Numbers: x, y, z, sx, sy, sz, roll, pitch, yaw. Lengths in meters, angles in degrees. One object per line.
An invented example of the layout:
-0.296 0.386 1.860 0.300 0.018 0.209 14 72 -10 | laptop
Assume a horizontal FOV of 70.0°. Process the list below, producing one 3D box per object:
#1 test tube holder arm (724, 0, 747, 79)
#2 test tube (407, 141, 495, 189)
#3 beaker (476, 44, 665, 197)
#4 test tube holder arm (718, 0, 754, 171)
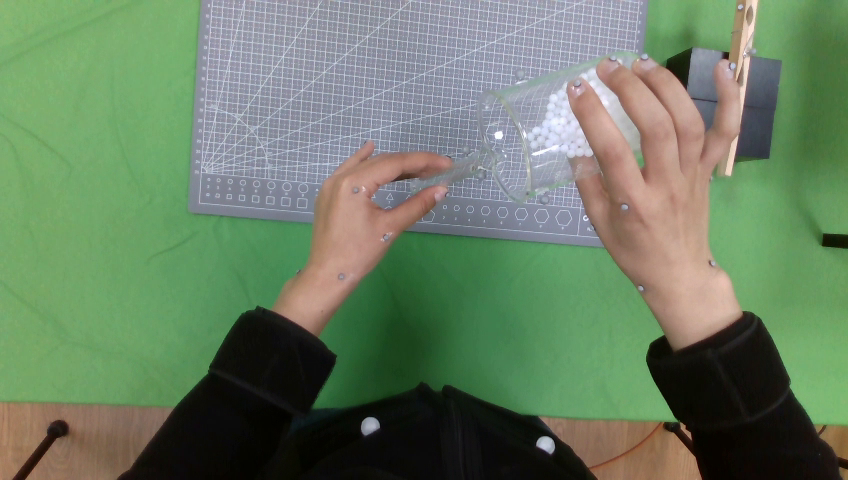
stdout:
0.310 -0.204 0.599 0.010 0.015 0.088 3 95 -16 | test tube holder arm
0.017 -0.057 0.488 0.017 0.149 0.017 1 87 -21 | test tube
0.093 -0.078 0.390 0.100 0.084 0.074 -20 91 -10 | beaker
0.312 -0.159 0.605 0.013 0.015 0.178 3 95 -16 | test tube holder arm
